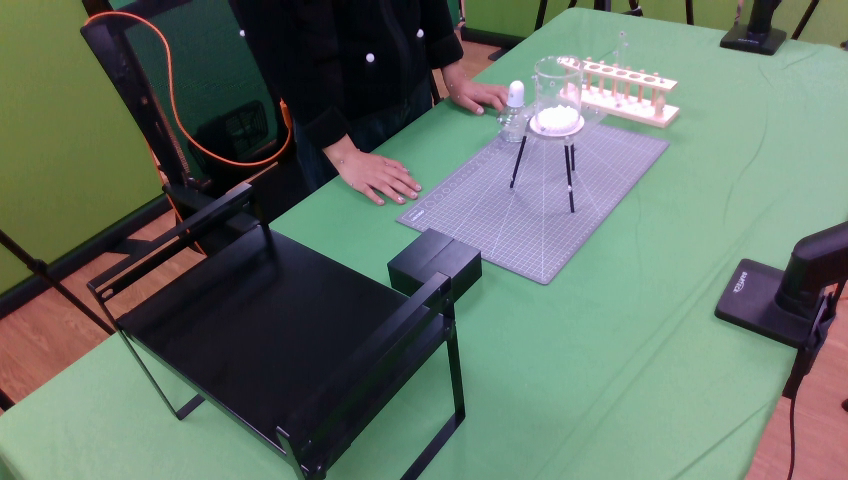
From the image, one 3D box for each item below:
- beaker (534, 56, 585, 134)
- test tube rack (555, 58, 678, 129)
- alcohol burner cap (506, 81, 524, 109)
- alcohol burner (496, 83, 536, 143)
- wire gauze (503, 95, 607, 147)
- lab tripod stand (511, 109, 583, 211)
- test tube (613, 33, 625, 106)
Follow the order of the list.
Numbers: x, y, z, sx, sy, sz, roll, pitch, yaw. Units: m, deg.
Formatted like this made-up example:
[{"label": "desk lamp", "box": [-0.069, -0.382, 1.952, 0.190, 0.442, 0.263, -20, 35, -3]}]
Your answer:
[{"label": "beaker", "box": [0.209, -0.226, 0.942, 0.074, 0.101, 0.083, -2, 41, 7]}, {"label": "test tube rack", "box": [0.390, -0.307, 1.229, 0.240, 0.085, 0.067, 25, 50, 33]}, {"label": "alcohol burner cap", "box": [0.173, -0.277, 1.144, 0.034, 0.048, 0.033, 0, 39, 0]}, {"label": "alcohol burner", "box": [0.178, -0.250, 1.168, 0.078, 0.119, 0.077, -5, 42, 5]}, {"label": "wire gauze", "box": [0.212, -0.191, 0.976, 0.120, 0.011, 0.125, 24, 52, 32]}, {"label": "lab tripod stand", "box": [0.220, -0.138, 1.014, 0.148, 0.132, 0.147, -3, 41, 3]}, {"label": "test tube", "box": [0.380, -0.330, 1.180, 0.017, 0.151, 0.017, -7, 41, 6]}]
